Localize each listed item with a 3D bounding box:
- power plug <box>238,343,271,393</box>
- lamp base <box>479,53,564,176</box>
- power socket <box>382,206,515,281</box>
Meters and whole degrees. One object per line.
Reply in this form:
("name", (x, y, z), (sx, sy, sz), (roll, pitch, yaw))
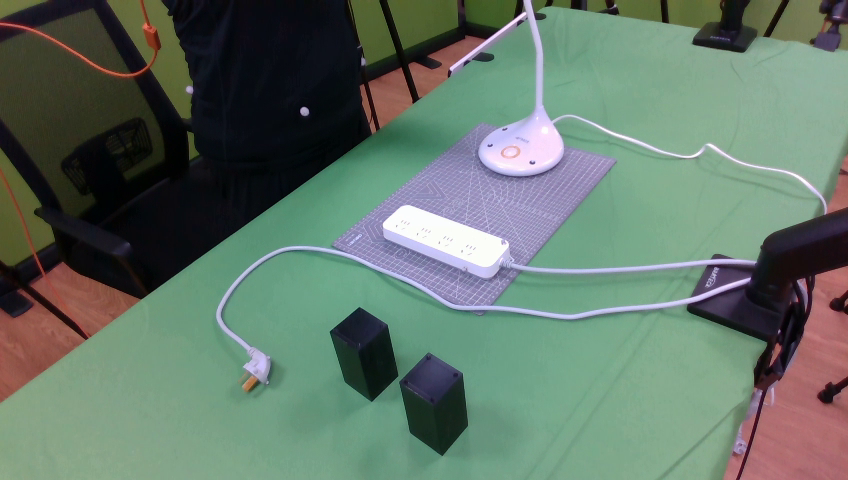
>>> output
("power plug", (-0.230, 0.172, 0.801), (0.072, 0.035, 0.053), (8, 50, 50))
("lamp base", (0.181, -0.235, 1.094), (0.159, 0.181, 0.179), (18, 44, 27))
("power socket", (0.032, 0.002, 0.950), (0.225, 0.033, 0.072), (21, 49, 29))
